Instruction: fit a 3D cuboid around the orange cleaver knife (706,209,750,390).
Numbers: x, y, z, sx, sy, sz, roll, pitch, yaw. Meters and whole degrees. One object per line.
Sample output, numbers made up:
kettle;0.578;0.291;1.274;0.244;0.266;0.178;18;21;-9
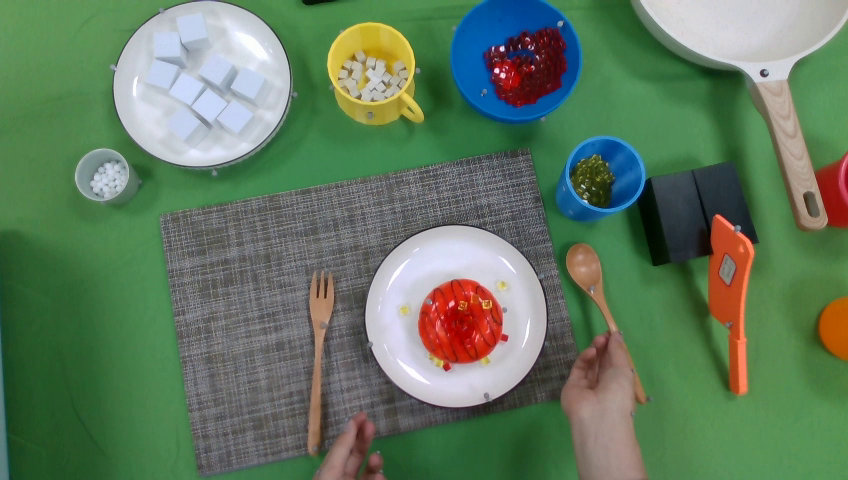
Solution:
orange cleaver knife;0.342;0.070;0.688;0.012;0.076;0.212;-12;111;-3

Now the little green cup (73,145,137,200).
little green cup;-0.366;-0.075;0.701;0.061;0.039;0.061;0;83;-3

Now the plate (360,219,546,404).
plate;0.032;0.080;0.693;0.209;0.038;0.208;0;83;-2

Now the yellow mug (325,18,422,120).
yellow mug;-0.052;-0.190;0.717;0.130;0.064;0.100;41;83;3

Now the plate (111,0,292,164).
plate;-0.260;-0.189;0.723;0.208;0.039;0.207;0;82;-2

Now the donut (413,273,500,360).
donut;0.036;0.087;0.681;0.099;0.048;0.099;0;86;-1

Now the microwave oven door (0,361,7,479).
microwave oven door;-0.467;0.206;0.540;0.039;0.244;0.354;-8;82;-3

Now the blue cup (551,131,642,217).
blue cup;0.187;-0.067;0.691;0.093;0.100;0.092;1;80;-3

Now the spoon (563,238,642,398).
spoon;0.206;0.086;0.693;0.042;0.022;0.192;-10;66;-17

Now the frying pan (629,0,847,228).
frying pan;0.389;-0.247;0.721;0.307;0.103;0.485;-6;75;-2

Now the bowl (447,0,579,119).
bowl;0.100;-0.207;0.719;0.151;0.077;0.151;0;82;-2

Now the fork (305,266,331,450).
fork;-0.124;0.133;0.690;0.028;0.018;0.206;3;80;-11
